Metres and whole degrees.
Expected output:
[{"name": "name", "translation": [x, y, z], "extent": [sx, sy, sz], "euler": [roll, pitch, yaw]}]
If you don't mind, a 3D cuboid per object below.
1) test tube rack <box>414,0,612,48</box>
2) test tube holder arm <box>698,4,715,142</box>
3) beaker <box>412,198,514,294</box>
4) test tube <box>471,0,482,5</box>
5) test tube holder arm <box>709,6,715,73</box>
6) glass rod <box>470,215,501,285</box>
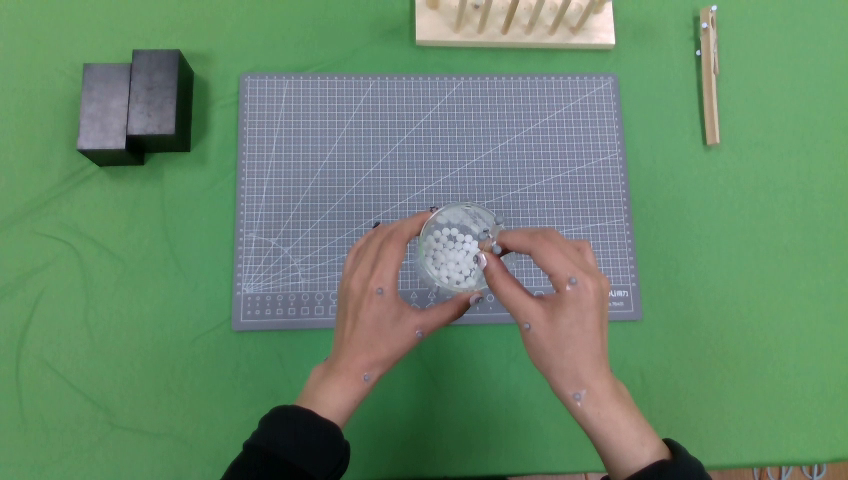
[{"name": "test tube rack", "translation": [0.111, -0.279, 0.709], "extent": [0.242, 0.085, 0.066], "euler": [0, 77, -4]}, {"name": "test tube holder arm", "translation": [0.345, -0.205, 0.739], "extent": [0.013, 0.015, 0.177], "euler": [12, 76, -31]}, {"name": "beaker", "translation": [0.030, 0.011, 0.531], "extent": [0.084, 0.100, 0.074], "euler": [16, 81, -3]}, {"name": "test tube", "translation": [0.075, -0.306, 0.662], "extent": [0.017, 0.150, 0.017], "euler": [2, 75, -9]}, {"name": "test tube holder arm", "translation": [0.353, -0.247, 0.751], "extent": [0.010, 0.015, 0.087], "euler": [12, 76, -31]}, {"name": "glass rod", "translation": [0.045, 0.013, 0.473], "extent": [0.008, 0.200, 0.008], "euler": [0, 74, 0]}]
